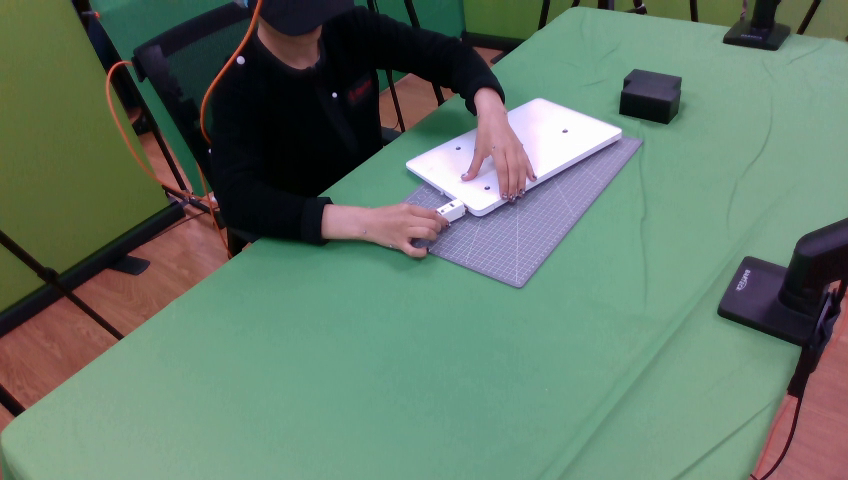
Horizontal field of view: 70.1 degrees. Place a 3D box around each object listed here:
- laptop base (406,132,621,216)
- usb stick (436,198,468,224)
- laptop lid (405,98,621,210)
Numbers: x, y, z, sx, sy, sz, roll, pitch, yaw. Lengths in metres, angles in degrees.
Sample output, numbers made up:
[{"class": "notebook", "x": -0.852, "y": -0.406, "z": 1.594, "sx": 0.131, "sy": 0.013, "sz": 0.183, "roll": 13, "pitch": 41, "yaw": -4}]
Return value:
[{"class": "laptop base", "x": 0.169, "y": -0.166, "z": 1.151, "sx": 0.356, "sy": 0.023, "sz": 0.233, "roll": -29, "pitch": 40, "yaw": -22}, {"class": "usb stick", "x": 0.051, "y": -0.051, "z": 1.016, "sx": 0.059, "sy": 0.027, "sz": 0.021, "roll": -24, "pitch": 41, "yaw": -20}, {"class": "laptop lid", "x": 0.166, "y": -0.176, "z": 1.146, "sx": 0.358, "sy": 0.013, "sz": 0.239, "roll": -28, "pitch": 40, "yaw": -21}]
